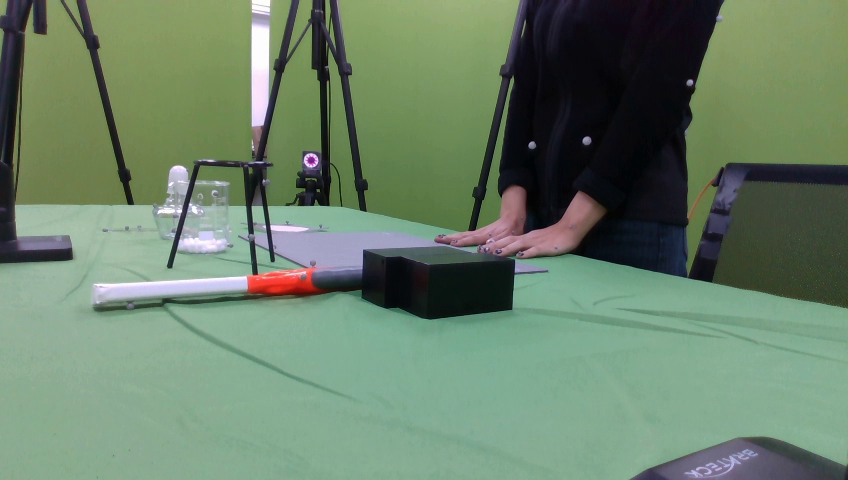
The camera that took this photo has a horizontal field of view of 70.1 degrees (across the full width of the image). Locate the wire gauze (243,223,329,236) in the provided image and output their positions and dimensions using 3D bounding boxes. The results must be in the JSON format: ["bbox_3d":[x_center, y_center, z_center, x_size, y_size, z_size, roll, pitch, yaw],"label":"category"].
[{"bbox_3d":[-0.266,-0.024,1.156,0.124,0.011,0.122,12,12,40],"label":"wire gauze"}]

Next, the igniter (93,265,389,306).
[{"bbox_3d":[-0.164,0.042,0.589,0.278,0.025,0.057,-2,-7,-31],"label":"igniter"}]

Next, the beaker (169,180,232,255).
[{"bbox_3d":[-0.313,-0.032,0.850,0.084,0.100,0.073,-5,10,-41],"label":"beaker"}]

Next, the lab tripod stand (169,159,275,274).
[{"bbox_3d":[-0.230,-0.030,0.724,0.148,0.131,0.148,1,9,0],"label":"lab tripod stand"}]

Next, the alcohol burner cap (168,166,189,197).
[{"bbox_3d":[-0.392,-0.095,0.970,0.034,0.048,0.034,7,7,-1],"label":"alcohol burner cap"}]

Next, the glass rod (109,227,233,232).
[{"bbox_3d":[-0.437,-0.019,1.054,0.201,0.008,0.008,-1,8,-27],"label":"glass rod"}]

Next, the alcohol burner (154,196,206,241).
[{"bbox_3d":[-0.393,-0.059,0.974,0.078,0.119,0.078,1,8,0],"label":"alcohol burner"}]
